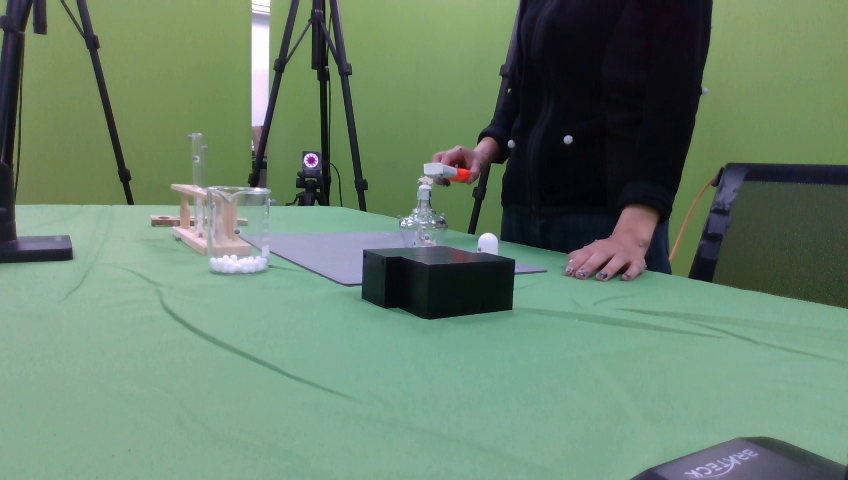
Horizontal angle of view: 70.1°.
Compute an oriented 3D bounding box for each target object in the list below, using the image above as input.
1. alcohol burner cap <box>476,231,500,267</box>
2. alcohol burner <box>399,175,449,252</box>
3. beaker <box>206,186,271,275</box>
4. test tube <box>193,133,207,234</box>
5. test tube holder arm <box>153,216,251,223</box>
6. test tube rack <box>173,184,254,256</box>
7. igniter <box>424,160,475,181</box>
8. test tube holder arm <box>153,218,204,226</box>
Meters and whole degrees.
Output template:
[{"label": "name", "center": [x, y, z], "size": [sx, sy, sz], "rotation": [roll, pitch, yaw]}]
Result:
[{"label": "alcohol burner cap", "center": [0.088, 0.012, 0.830], "size": [0.034, 0.048, 0.034], "rotation": [3, 7, 0]}, {"label": "alcohol burner", "center": [0.000, -0.041, 0.937], "size": [0.078, 0.119, 0.078], "rotation": [0, 7, 0]}, {"label": "beaker", "center": [-0.220, -0.012, 0.717], "size": [0.074, 0.100, 0.084], "rotation": [2, 8, -3]}, {"label": "test tube", "center": [-0.335, -0.084, 0.904], "size": [0.017, 0.150, 0.017], "rotation": [-1, 2, 0]}, {"label": "test tube holder arm", "center": [-0.422, -0.039, 1.159], "size": [0.179, 0.015, 0.013], "rotation": [-2, 43, -31]}, {"label": "test tube rack", "center": [-0.328, -0.036, 0.927], "size": [0.067, 0.085, 0.241], "rotation": [-2, 9, -32]}, {"label": "igniter", "center": [0.050, -0.123, 1.083], "size": [0.057, 0.025, 0.277], "rotation": [-1, 2, 15]}, {"label": "test tube holder arm", "center": [-0.459, -0.034, 1.132], "size": [0.088, 0.015, 0.010], "rotation": [-1, 43, -29]}]
